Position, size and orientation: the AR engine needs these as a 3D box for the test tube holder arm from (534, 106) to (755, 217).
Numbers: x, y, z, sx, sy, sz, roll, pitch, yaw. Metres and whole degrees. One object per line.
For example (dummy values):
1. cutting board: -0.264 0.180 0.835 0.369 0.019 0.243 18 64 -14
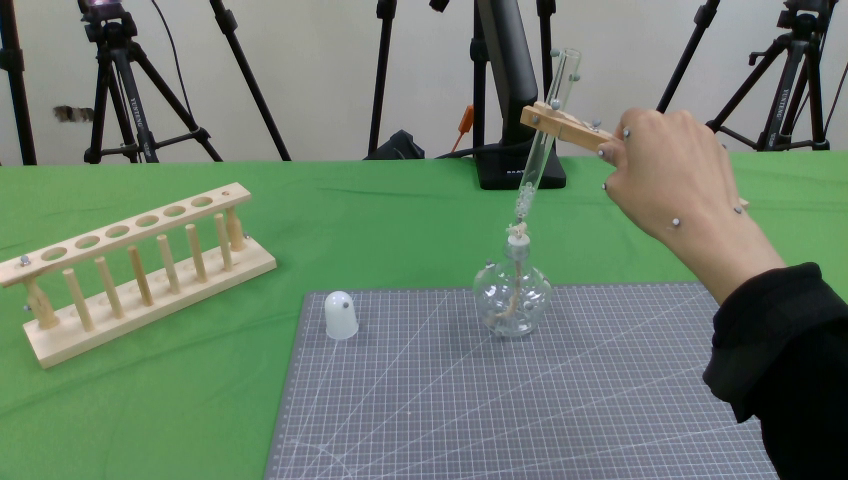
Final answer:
1. test tube holder arm: 0.153 -0.062 0.445 0.177 0.015 0.013 32 50 31

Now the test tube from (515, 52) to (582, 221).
1. test tube: 0.098 -0.077 0.488 0.017 0.151 0.017 7 38 -5

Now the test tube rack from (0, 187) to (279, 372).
1. test tube rack: -0.280 0.032 0.624 0.243 0.086 0.066 -26 41 -32

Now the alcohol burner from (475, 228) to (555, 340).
1. alcohol burner: 0.088 0.037 0.579 0.078 0.120 0.077 0 36 0

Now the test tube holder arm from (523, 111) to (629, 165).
1. test tube holder arm: 0.116 -0.079 0.464 0.087 0.015 0.010 27 48 27

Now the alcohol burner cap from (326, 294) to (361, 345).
1. alcohol burner cap: -0.080 0.075 0.591 0.034 0.048 0.033 0 35 1
